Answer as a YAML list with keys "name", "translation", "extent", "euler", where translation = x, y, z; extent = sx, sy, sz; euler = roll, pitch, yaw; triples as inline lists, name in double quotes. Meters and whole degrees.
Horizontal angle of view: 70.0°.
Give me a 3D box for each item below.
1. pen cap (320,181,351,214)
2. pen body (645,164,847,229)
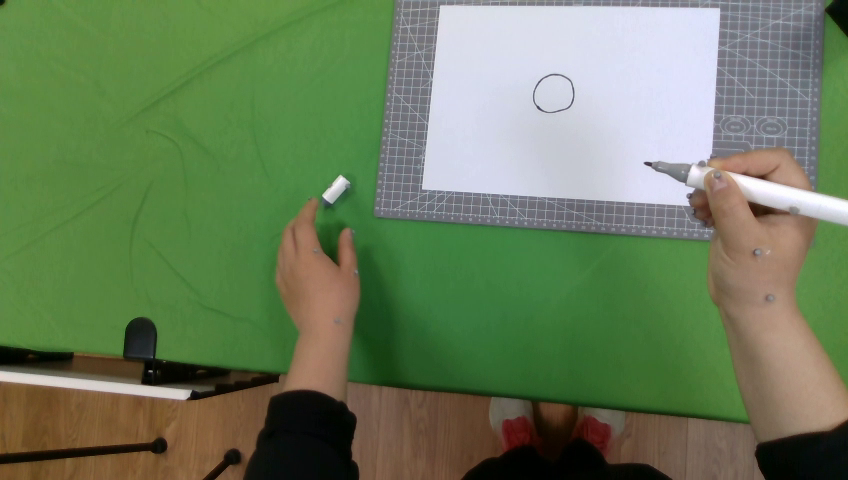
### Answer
- name: "pen cap"
  translation: [-0.100, -0.047, 0.683]
  extent: [0.017, 0.017, 0.038]
  euler: [43, 93, 12]
- name: "pen body"
  translation: [0.215, -0.030, 0.391]
  extent: [0.143, 0.017, 0.017]
  euler: [19, 88, 25]
